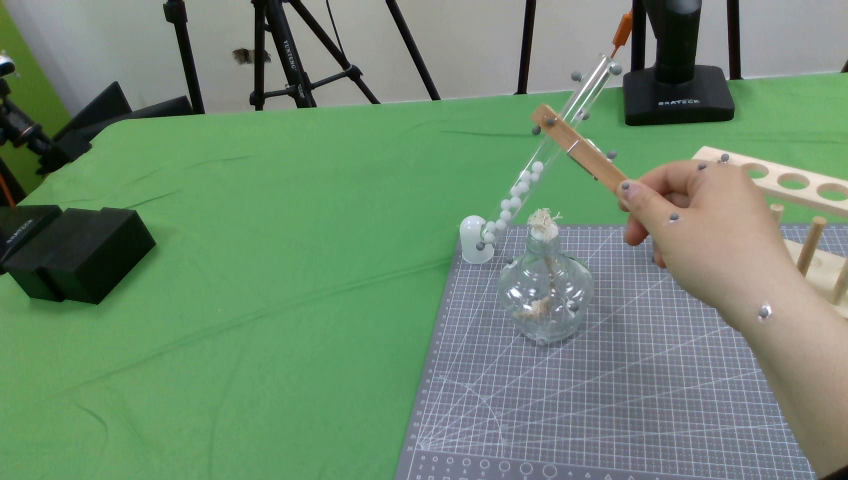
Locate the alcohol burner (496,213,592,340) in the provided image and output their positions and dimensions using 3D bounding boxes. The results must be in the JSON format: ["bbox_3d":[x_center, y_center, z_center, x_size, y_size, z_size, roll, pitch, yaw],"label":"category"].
[{"bbox_3d":[0.094,0.024,0.481,0.078,0.120,0.077,-6,42,6],"label":"alcohol burner"}]

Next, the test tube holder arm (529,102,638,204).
[{"bbox_3d":[0.105,-0.058,0.400,0.087,0.015,0.010,45,23,9],"label":"test tube holder arm"}]

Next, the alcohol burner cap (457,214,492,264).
[{"bbox_3d":[0.048,-0.004,0.583,0.034,0.048,0.033,-6,41,6],"label":"alcohol burner cap"}]

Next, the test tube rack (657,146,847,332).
[{"bbox_3d":[0.311,0.009,0.463,0.240,0.086,0.066,25,53,37],"label":"test tube rack"}]

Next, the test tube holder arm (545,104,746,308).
[{"bbox_3d":[0.137,-0.026,0.394,0.177,0.015,0.013,48,24,16],"label":"test tube holder arm"}]

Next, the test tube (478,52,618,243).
[{"bbox_3d":[0.082,-0.059,0.416,0.017,0.150,0.017,29,19,-11],"label":"test tube"}]
